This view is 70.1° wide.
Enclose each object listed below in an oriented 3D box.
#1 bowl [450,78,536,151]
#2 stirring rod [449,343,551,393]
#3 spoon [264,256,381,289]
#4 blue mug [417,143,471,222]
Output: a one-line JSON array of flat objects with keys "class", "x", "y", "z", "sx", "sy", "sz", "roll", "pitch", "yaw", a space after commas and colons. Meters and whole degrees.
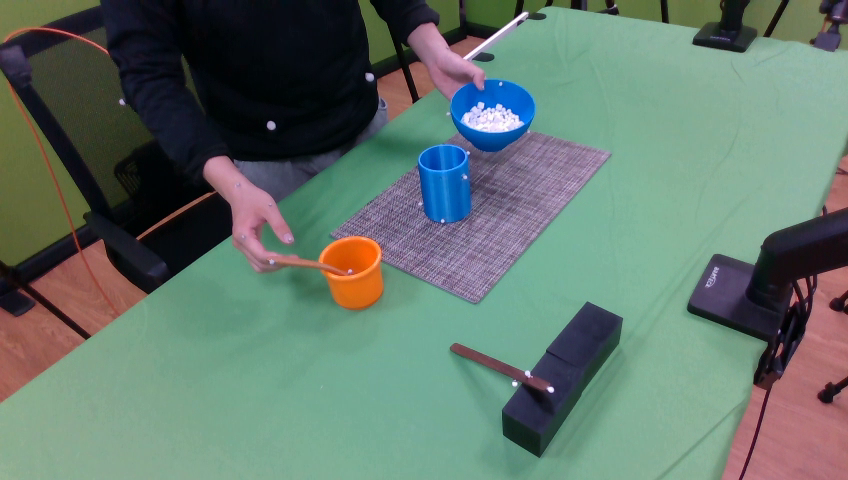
[{"class": "bowl", "x": 0.120, "y": -0.212, "z": 1.077, "sx": 0.151, "sy": 0.077, "sz": 0.150, "roll": 0, "pitch": 51, "yaw": 1}, {"class": "stirring rod", "x": 0.088, "y": 0.154, "z": 0.741, "sx": 0.014, "sy": 0.006, "sz": 0.174, "roll": -40, "pitch": 28, "yaw": -25}, {"class": "spoon", "x": -0.136, "y": 0.041, "z": 0.842, "sx": 0.041, "sy": 0.195, "sz": 0.021, "roll": 44, "pitch": 106, "yaw": 43}, {"class": "blue mug", "x": 0.031, "y": -0.104, "z": 1.014, "sx": 0.082, "sy": 0.106, "sz": 0.115, "roll": -14, "pitch": 41, "yaw": -7}]
